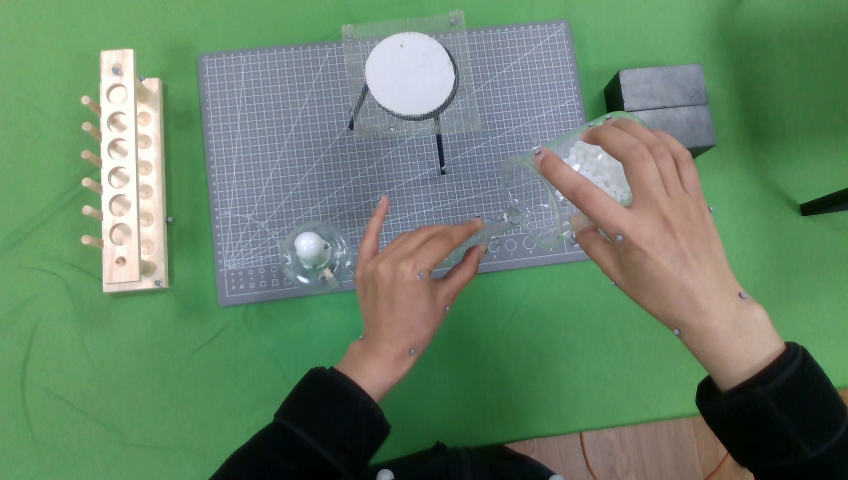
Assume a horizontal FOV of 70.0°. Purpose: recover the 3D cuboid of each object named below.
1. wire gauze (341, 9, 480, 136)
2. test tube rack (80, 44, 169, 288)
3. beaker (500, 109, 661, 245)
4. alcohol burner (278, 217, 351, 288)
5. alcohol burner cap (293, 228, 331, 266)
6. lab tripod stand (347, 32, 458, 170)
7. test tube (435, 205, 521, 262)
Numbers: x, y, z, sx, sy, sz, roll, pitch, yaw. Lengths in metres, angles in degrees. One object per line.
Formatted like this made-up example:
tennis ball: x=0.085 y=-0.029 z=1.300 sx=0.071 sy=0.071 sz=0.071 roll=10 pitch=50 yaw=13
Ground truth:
wire gauze: x=-0.014 y=-0.162 z=0.588 sx=0.125 sy=0.011 sz=0.121 roll=-6 pitch=83 yaw=-5
test tube rack: x=-0.325 y=-0.075 z=0.647 sx=0.067 sy=0.085 sz=0.241 roll=-5 pitch=82 yaw=-4
beaker: x=0.118 y=-0.049 z=0.458 sx=0.100 sy=0.084 sz=0.074 roll=-26 pitch=83 yaw=-14
alcohol burner: x=-0.116 y=0.011 z=0.633 sx=0.078 sy=0.119 sz=0.077 roll=1 pitch=81 yaw=-5
alcohol burner cap: x=-0.113 y=0.006 z=0.598 sx=0.034 sy=0.048 sz=0.033 roll=0 pitch=76 yaw=2
lab tripod stand: x=-0.015 y=-0.156 z=0.654 sx=0.148 sy=0.132 sz=0.148 roll=1 pitch=80 yaw=-3
test tube: x=0.044 y=-0.002 z=0.549 sx=0.017 sy=0.150 sz=0.017 roll=6 pitch=73 yaw=-21
